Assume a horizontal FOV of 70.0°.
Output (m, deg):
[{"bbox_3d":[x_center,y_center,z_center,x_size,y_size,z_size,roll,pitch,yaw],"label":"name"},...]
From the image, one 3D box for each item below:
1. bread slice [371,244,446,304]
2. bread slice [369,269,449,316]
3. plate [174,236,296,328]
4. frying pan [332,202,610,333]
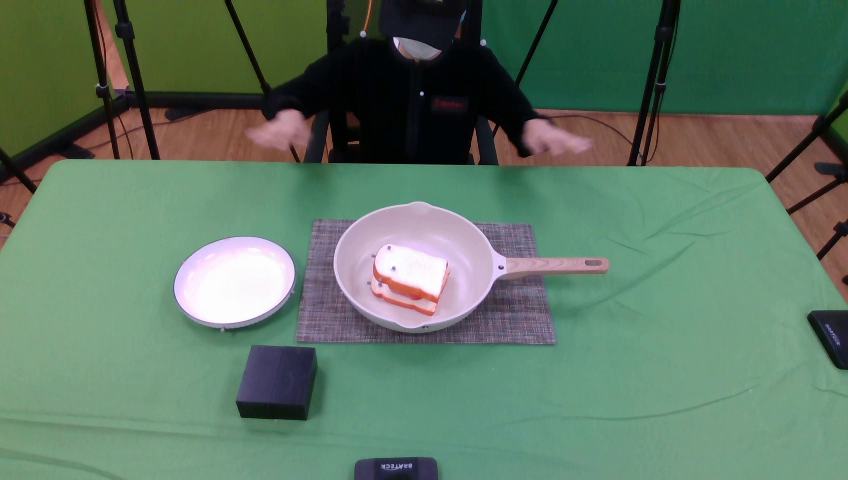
[{"bbox_3d":[-0.028,0.054,1.072,0.131,0.019,0.104,19,40,-3],"label":"bread slice"},{"bbox_3d":[-0.031,0.082,1.107,0.134,0.018,0.106,12,45,8],"label":"bread slice"},{"bbox_3d":[-0.335,0.077,1.087,0.208,0.039,0.206,2,46,-2],"label":"plate"},{"bbox_3d":[0.085,0.052,1.093,0.488,0.103,0.305,-1,46,6],"label":"frying pan"}]
